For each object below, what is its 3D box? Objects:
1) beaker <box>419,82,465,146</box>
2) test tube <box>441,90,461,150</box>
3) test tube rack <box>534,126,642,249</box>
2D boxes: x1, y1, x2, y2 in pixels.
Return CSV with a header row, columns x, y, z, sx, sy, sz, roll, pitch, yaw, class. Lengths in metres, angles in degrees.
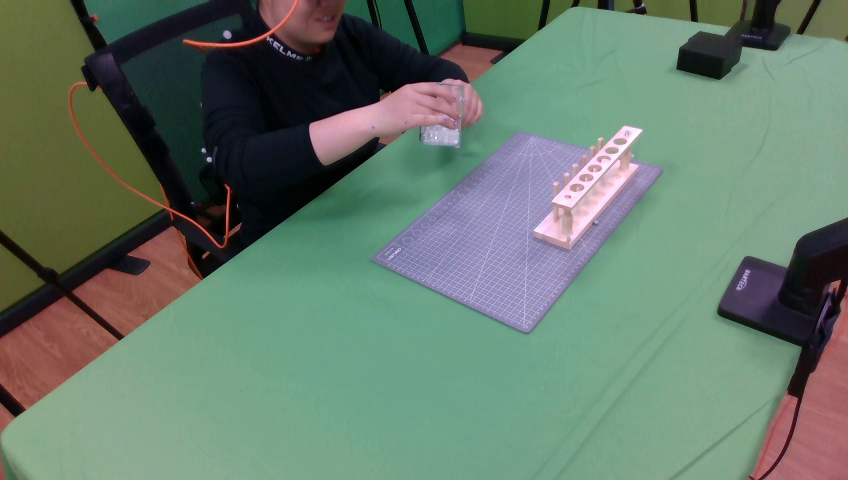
x,y,z,sx,sy,sz,roll,pitch,yaw,class
0.029,-0.209,1.017,0.074,0.100,0.084,5,9,7,beaker
0.050,-0.216,1.110,0.017,0.151,0.017,-6,58,9,test tube
0.271,-0.095,0.990,0.066,0.085,0.243,23,49,33,test tube rack
